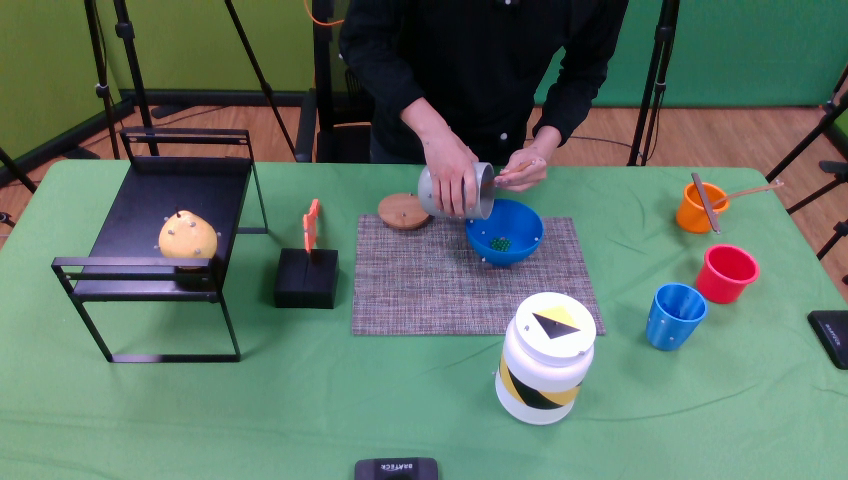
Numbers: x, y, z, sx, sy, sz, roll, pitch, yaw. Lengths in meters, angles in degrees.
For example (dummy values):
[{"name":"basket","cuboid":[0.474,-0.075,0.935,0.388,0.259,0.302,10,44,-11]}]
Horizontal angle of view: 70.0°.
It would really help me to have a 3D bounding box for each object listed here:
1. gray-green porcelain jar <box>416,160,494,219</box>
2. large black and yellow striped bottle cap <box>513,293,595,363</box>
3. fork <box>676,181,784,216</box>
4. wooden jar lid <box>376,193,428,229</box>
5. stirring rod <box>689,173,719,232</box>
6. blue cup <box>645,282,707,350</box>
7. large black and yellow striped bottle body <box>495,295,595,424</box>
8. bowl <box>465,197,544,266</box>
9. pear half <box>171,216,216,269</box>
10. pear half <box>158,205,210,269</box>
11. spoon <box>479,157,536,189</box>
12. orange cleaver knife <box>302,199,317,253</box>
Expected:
[{"name":"gray-green porcelain jar","cuboid":[0.057,-0.095,1.129,0.126,0.106,0.105,5,44,21]},{"name":"large black and yellow striped bottle cap","cuboid":[0.186,0.123,0.863,0.115,0.019,0.114,3,45,-3]},{"name":"fork","cuboid":[0.618,-0.084,1.235,0.207,0.019,0.028,-23,20,38]},{"name":"wooden jar lid","cuboid":[-0.044,-0.059,1.246,0.108,0.021,0.107,3,40,-3]},{"name":"stirring rod","cuboid":[0.566,-0.079,1.225,0.014,0.006,0.175,2,45,2]},{"name":"blue cup","cuboid":[0.425,0.136,1.042,0.093,0.101,0.092,1,45,-1]},{"name":"large black and yellow striped bottle body","cuboid":[0.183,0.182,0.923,0.131,0.185,0.130,2,46,-2]},{"name":"bowl","cuboid":[0.149,-0.004,1.167,0.151,0.077,0.150,2,46,-2]},{"name":"pear half","cuboid":[-0.323,0.007,0.866,0.031,0.088,0.070,25,47,20]},{"name":"pear half","cuboid":[-0.352,-0.015,0.872,0.056,0.110,0.076,26,46,20]},{"name":"spoon","cuboid":[0.124,-0.109,1.112,0.193,0.022,0.041,-21,20,33]},{"name":"orange cleaver knife","cuboid":[-0.219,-0.031,1.168,0.012,0.077,0.210,-4,17,-3]}]
